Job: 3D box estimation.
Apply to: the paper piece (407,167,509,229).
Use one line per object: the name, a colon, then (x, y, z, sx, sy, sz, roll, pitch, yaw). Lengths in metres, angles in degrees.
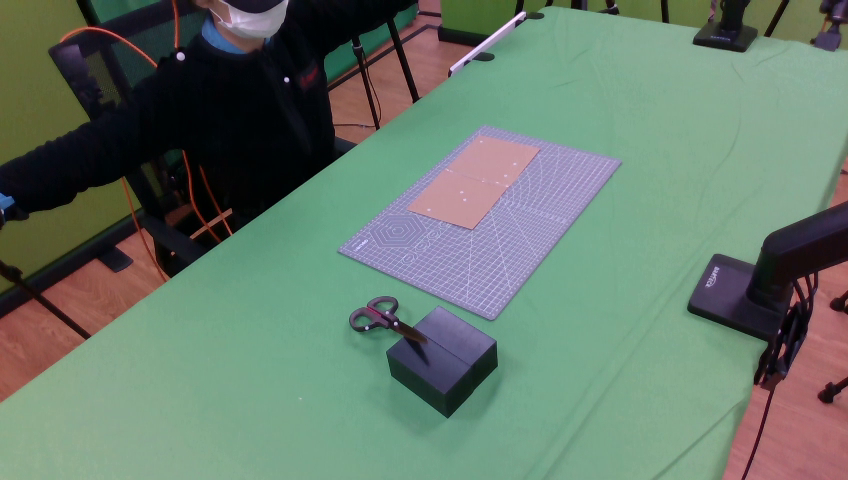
paper piece: (0.059, -0.077, 1.055, 0.134, 0.004, 0.136, 20, 48, 27)

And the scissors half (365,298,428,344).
scissors half: (-0.035, 0.107, 0.808, 0.040, 0.013, 0.174, -27, 23, -18)

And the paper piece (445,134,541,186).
paper piece: (0.130, -0.154, 1.137, 0.135, 0.009, 0.138, 22, 48, 25)

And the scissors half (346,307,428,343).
scissors half: (-0.051, 0.115, 0.799, 0.040, 0.013, 0.174, -29, 23, -36)
